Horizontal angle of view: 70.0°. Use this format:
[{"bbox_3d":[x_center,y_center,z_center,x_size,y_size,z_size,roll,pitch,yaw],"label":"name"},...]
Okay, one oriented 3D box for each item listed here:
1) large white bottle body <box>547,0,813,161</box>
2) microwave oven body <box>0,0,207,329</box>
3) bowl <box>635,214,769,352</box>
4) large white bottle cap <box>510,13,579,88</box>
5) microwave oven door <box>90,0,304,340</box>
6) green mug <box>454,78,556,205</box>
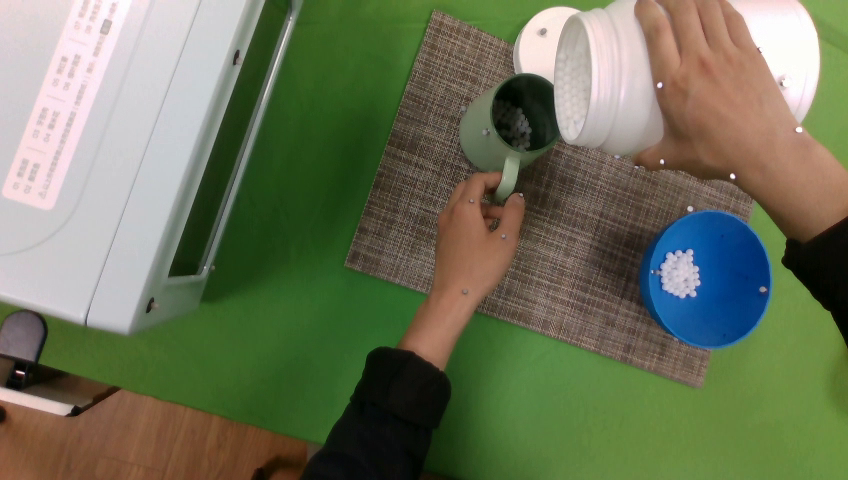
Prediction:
[{"bbox_3d":[0.211,-0.136,0.526,0.185,0.130,0.130,-3,88,-4],"label":"large white bottle body"},{"bbox_3d":[-0.291,-0.189,0.479,0.327,0.259,0.441,19,85,-11],"label":"microwave oven body"},{"bbox_3d":[0.298,0.048,0.687,0.152,0.076,0.151,1,87,-11],"label":"bowl"},{"bbox_3d":[0.155,-0.203,0.697,0.115,0.018,0.114,1,88,-12],"label":"large white bottle cap"},{"bbox_3d":[-0.166,-0.103,0.498,0.039,0.243,0.355,18,84,-10],"label":"microwave oven door"},{"bbox_3d":[0.083,-0.099,0.634,0.093,0.105,0.125,11,85,-12],"label":"green mug"}]
